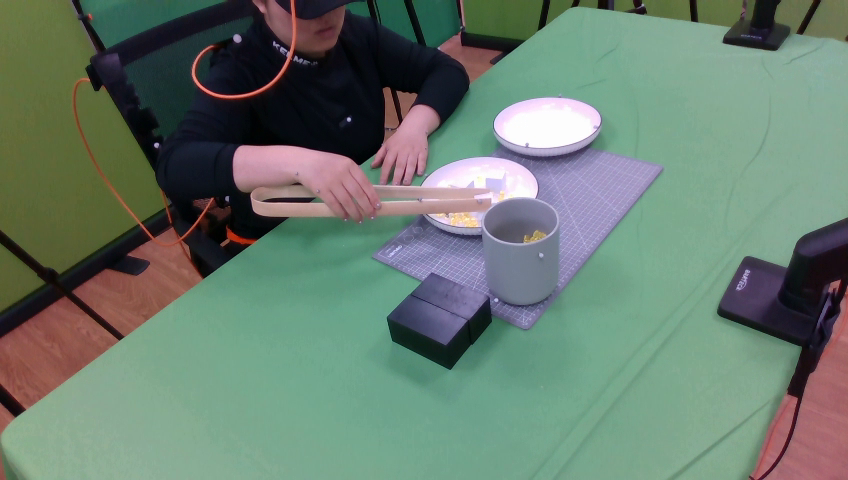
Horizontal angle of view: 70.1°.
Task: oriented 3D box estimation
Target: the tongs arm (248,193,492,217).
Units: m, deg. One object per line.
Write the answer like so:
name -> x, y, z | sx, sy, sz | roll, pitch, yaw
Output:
tongs arm -> -0.084, -0.061, 0.969 | 0.386, 0.026, 0.050 | -3, 37, -7

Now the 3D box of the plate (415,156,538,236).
plate -> 0.090, -0.072, 1.034 | 0.207, 0.039, 0.206 | -5, 40, 5

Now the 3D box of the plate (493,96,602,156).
plate -> 0.238, -0.218, 1.180 | 0.209, 0.038, 0.208 | -4, 39, 4

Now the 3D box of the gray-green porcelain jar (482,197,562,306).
gray-green porcelain jar -> 0.138, 0.020, 0.846 | 0.106, 0.127, 0.105 | -5, 40, 5

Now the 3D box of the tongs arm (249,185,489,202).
tongs arm -> -0.085, -0.075, 0.988 | 0.388, 0.028, 0.028 | -1, 41, -4
